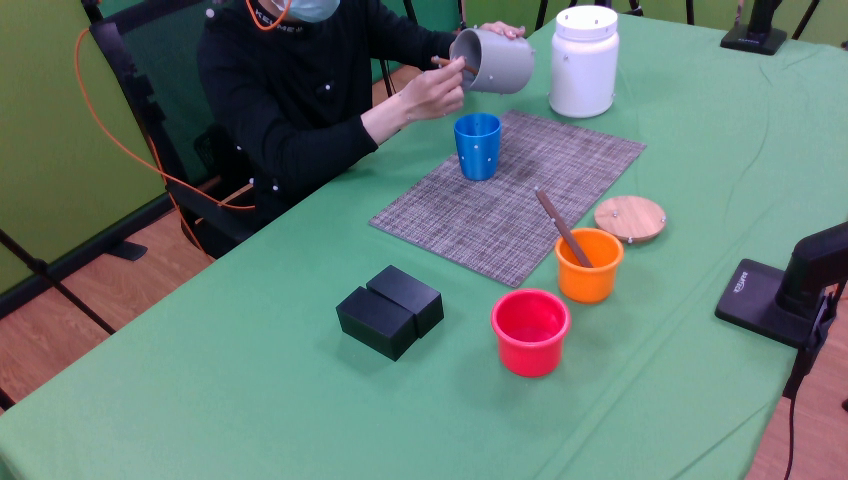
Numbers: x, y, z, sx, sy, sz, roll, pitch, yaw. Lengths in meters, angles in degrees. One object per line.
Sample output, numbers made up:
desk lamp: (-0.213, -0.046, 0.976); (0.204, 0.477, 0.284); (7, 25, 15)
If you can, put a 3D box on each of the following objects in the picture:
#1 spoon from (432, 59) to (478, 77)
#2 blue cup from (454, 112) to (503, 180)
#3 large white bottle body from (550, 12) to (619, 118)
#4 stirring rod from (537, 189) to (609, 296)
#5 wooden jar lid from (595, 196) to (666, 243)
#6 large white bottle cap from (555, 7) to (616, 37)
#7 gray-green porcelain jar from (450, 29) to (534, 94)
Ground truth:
spoon: (0.084, -0.298, 1.084); (0.195, 0.021, 0.041); (8, 13, -44)
blue cup: (0.097, -0.165, 1.088); (0.092, 0.100, 0.092); (-3, 40, 3)
large white bottle body: (0.321, -0.356, 1.218); (0.130, 0.185, 0.130); (-4, 41, 4)
stirring rod: (0.210, 0.003, 0.855); (0.014, 0.006, 0.176); (-32, 89, -30)
wooden jar lid: (0.329, -0.032, 0.967); (0.108, 0.021, 0.108); (-4, 41, 4)
large white bottle cap: (0.311, -0.420, 1.163); (0.115, 0.018, 0.114); (-4, 40, 4)
gray-green porcelain jar: (0.128, -0.323, 1.104); (0.127, 0.106, 0.105); (-2, 34, -31)
